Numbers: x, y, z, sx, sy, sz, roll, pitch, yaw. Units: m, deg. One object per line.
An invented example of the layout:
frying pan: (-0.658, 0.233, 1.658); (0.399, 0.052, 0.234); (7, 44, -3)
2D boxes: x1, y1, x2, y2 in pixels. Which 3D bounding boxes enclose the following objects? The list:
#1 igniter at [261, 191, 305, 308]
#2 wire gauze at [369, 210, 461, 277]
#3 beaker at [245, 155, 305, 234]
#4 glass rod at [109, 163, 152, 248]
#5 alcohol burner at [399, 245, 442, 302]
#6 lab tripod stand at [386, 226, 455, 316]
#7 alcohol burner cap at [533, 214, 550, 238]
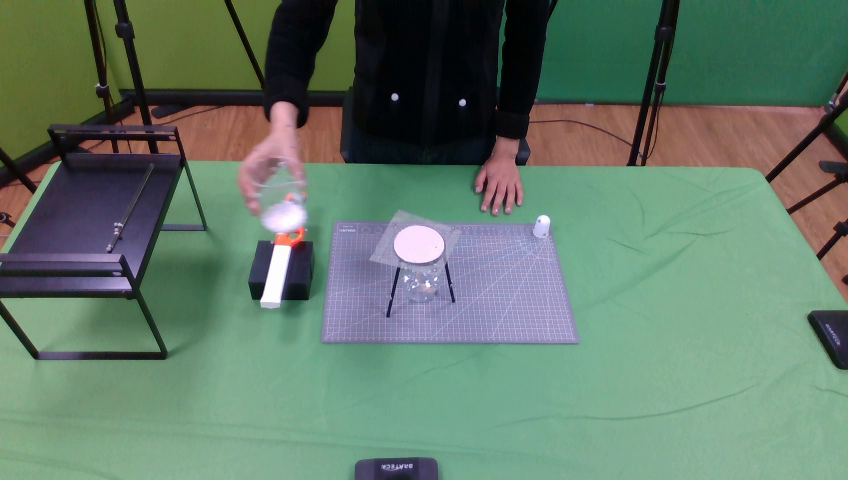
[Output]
igniter: (-0.254, 0.007, 1.104); (0.057, 0.025, 0.275); (5, 47, -4)
wire gauze: (-0.013, 0.005, 1.017); (0.121, 0.011, 0.124); (17, 49, 12)
beaker: (-0.215, -0.064, 0.904); (0.084, 0.101, 0.073); (14, 47, 11)
glass rod: (-0.472, -0.061, 0.979); (0.008, 0.008, 0.198); (2, 46, -3)
alcohol burner: (-0.006, 0.054, 1.078); (0.078, 0.119, 0.077); (3, 44, -3)
lab tripod stand: (-0.014, 0.054, 1.064); (0.148, 0.132, 0.147); (2, 48, -2)
alcohol burner cap: (0.240, -0.031, 1.228); (0.034, 0.048, 0.033); (1, 46, -1)
